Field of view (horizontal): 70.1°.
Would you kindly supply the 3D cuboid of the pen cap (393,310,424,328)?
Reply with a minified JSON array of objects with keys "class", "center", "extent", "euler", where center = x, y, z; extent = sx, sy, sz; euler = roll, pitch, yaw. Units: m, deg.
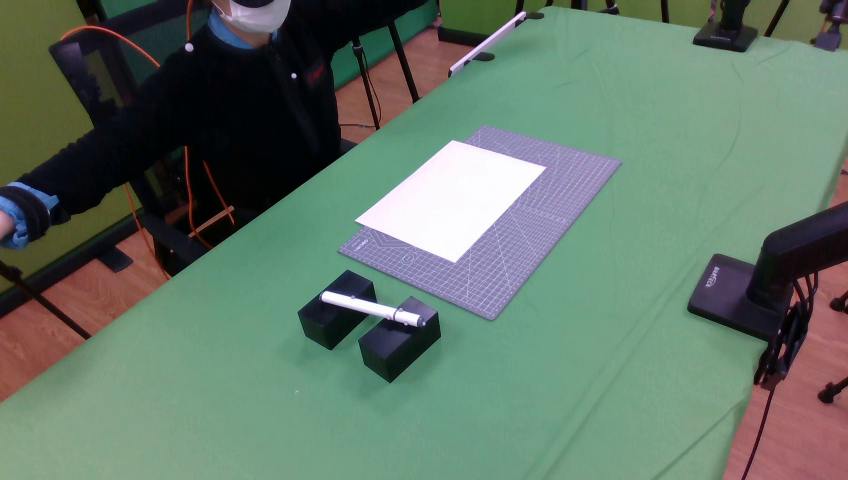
[{"class":"pen cap","center":[-0.019,0.102,0.778],"extent":[0.038,0.017,0.017],"euler":[12,44,21]}]

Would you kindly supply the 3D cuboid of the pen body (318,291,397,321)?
[{"class":"pen body","center":[-0.076,0.089,0.801],"extent":[0.143,0.017,0.017],"euler":[12,44,21]}]
